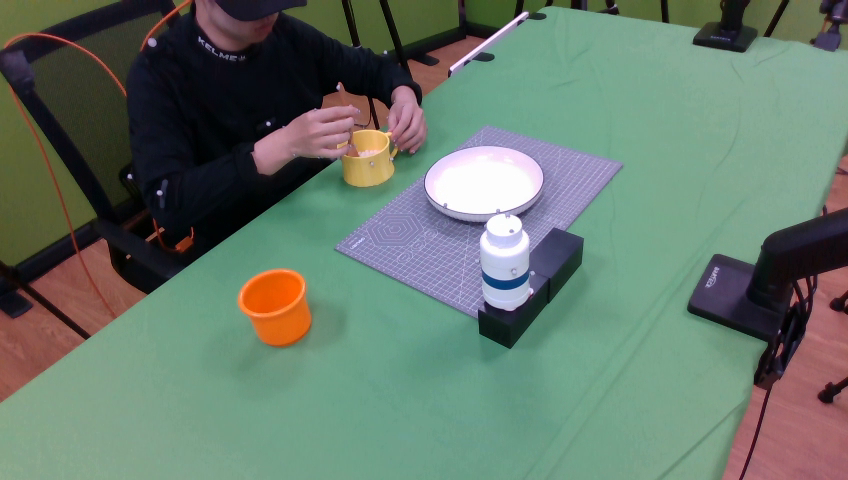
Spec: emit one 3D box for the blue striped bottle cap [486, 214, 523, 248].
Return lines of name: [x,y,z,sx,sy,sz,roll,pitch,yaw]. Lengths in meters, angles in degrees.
blue striped bottle cap: [0.098,-0.011,0.735,0.044,0.021,0.044,-3,38,2]

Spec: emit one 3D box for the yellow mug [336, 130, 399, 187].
yellow mug: [-0.098,-0.161,1.138,0.131,0.064,0.099,-33,47,-28]

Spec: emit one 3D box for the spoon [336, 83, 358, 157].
spoon: [-0.135,-0.197,1.077,0.021,0.194,0.041,18,52,14]

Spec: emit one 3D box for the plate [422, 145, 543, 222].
plate: [0.101,-0.094,1.048,0.207,0.039,0.206,-4,41,4]

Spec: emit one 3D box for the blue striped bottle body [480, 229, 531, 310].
blue striped bottle body: [0.104,0.027,0.769,0.063,0.121,0.063,-4,41,4]
